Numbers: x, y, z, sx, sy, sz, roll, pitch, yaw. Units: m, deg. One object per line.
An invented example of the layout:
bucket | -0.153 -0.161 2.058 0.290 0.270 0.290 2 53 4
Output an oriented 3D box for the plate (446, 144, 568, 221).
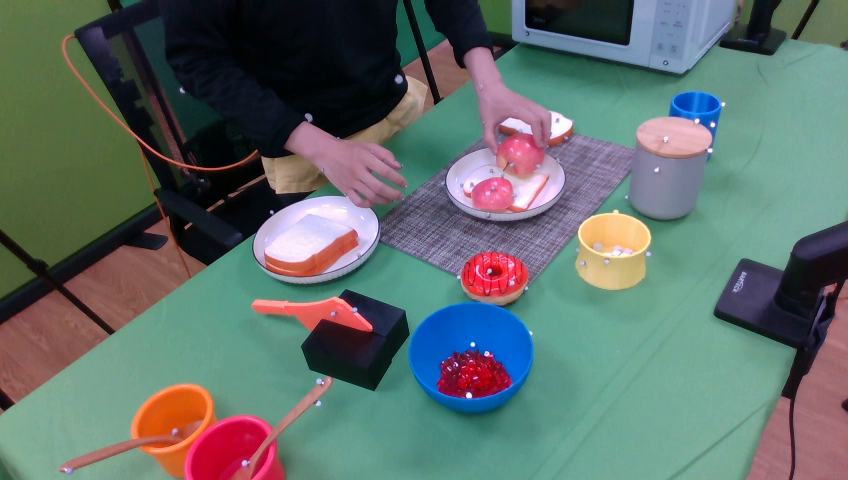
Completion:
plate | 0.143 -0.097 1.045 0.207 0.039 0.206 -4 40 4

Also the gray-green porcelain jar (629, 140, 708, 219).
gray-green porcelain jar | 0.383 -0.105 0.958 0.106 0.127 0.105 -4 41 4

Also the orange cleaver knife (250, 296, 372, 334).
orange cleaver knife | -0.158 0.103 0.828 0.210 0.078 0.012 -4 43 39

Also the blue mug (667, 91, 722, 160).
blue mug | 0.474 -0.207 1.079 0.082 0.106 0.116 4 42 13

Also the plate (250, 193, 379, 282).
plate | -0.174 -0.001 0.984 0.209 0.038 0.208 -3 40 3

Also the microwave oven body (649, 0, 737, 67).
microwave oven body | 0.475 -0.602 1.411 0.438 0.261 0.327 23 50 32

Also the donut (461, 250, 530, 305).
donut | 0.103 0.053 0.872 0.099 0.048 0.098 -4 40 4

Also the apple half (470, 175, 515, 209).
apple half | 0.114 -0.086 1.004 0.081 0.033 0.081 -4 43 4

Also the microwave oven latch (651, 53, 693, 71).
microwave oven latch | 0.532 -0.386 1.301 0.078 0.029 0.030 27 52 34

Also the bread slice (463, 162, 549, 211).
bread slice | 0.136 -0.094 1.045 0.133 0.018 0.107 15 45 23

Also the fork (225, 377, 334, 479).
fork | -0.163 0.216 0.647 0.207 0.019 0.028 -49 42 16

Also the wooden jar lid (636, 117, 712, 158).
wooden jar lid | 0.377 -0.151 0.917 0.108 0.021 0.108 -2 41 3

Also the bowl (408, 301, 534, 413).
bowl | 0.059 0.156 0.739 0.151 0.077 0.150 -4 40 4

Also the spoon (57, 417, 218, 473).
spoon | -0.304 0.221 0.661 0.041 0.195 0.021 19 92 27

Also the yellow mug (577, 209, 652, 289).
yellow mug | 0.279 0.004 0.893 0.099 0.064 0.130 5 42 15

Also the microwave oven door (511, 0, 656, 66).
microwave oven door | 0.351 -0.539 1.349 0.353 0.245 0.039 24 50 31

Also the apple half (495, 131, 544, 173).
apple half | 0.163 -0.158 1.035 0.075 0.053 0.080 -30 39 -21

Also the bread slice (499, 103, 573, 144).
bread slice | 0.231 -0.232 1.205 0.105 0.019 0.130 -36 47 -29
